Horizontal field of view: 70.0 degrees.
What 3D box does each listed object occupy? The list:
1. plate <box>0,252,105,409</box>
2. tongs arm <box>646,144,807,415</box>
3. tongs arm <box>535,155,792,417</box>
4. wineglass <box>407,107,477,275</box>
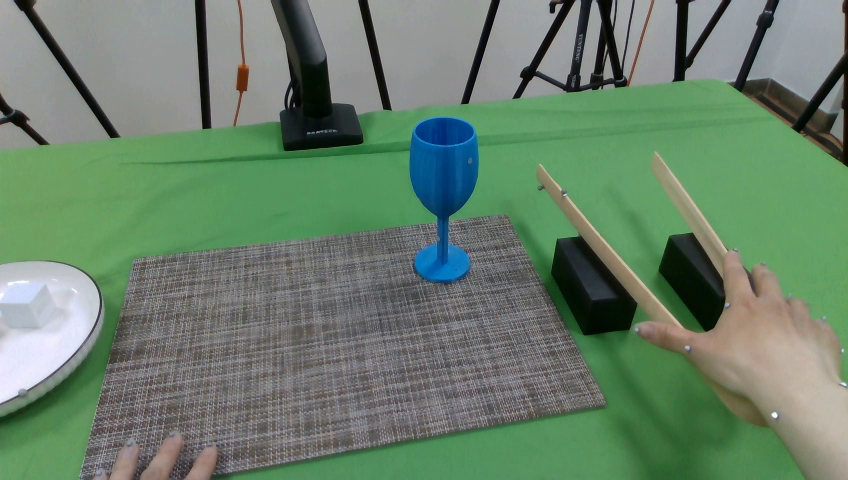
[{"bbox_3d":[-0.416,0.091,0.582,0.209,0.038,0.207,0,39,0],"label":"plate"},{"bbox_3d":[0.291,0.008,0.623,0.028,0.028,0.383,3,39,-5],"label":"tongs arm"},{"bbox_3d":[0.211,0.018,0.611,0.051,0.027,0.380,-8,40,-13],"label":"tongs arm"},{"bbox_3d":[0.018,-0.048,0.643,0.074,0.174,0.073,0,40,0],"label":"wineglass"}]
